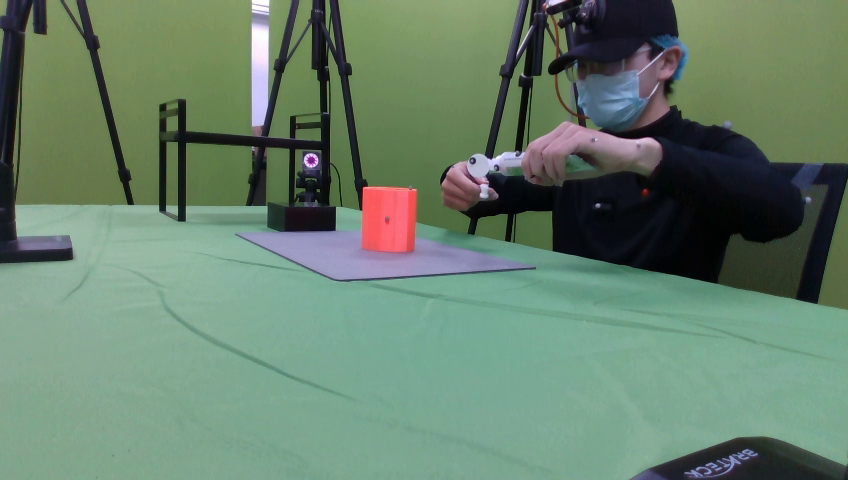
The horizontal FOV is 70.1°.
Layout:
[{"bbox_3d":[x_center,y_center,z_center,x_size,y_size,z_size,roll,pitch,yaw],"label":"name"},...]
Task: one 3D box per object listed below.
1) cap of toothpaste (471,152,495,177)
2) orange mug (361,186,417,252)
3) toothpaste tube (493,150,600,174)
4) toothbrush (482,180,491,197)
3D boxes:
[{"bbox_3d":[0.086,-0.111,0.883,0.037,0.037,0.011,5,16,19],"label":"cap of toothpaste"},{"bbox_3d":[-0.054,-0.039,0.962,0.083,0.101,0.126,2,12,0],"label":"orange mug"},{"bbox_3d":[0.158,-0.109,0.831,0.055,0.034,0.164,12,-3,-40],"label":"toothpaste tube"},{"bbox_3d":[0.101,-0.088,0.986,0.014,0.016,0.182,1,11,6],"label":"toothbrush"}]
